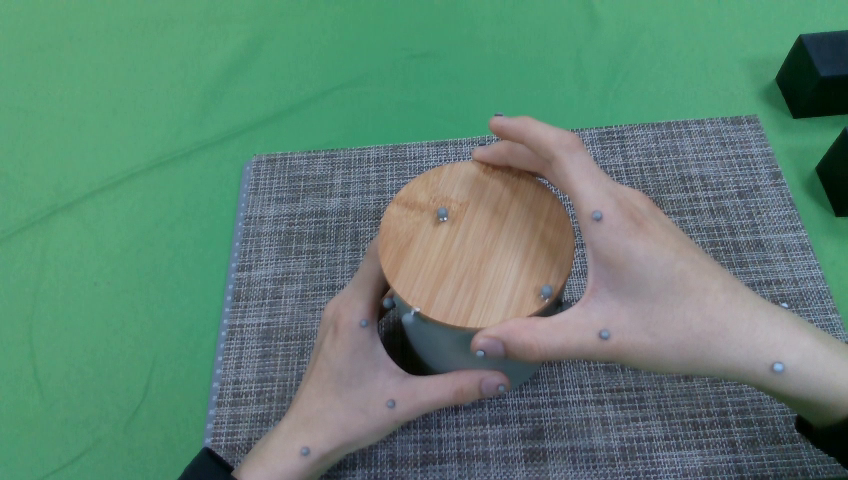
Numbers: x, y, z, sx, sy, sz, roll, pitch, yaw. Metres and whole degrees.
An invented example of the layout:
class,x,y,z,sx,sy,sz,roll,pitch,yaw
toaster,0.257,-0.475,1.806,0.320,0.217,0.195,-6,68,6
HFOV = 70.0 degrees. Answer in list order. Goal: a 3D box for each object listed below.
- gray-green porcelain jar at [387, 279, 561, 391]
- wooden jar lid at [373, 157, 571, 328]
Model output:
class,x,y,z,sx,sy,sz,roll,pitch,yaw
gray-green porcelain jar,0.032,0.034,0.394,0.106,0.127,0.105,-2,58,4
wooden jar lid,0.026,0.001,0.339,0.108,0.021,0.107,-1,61,1
